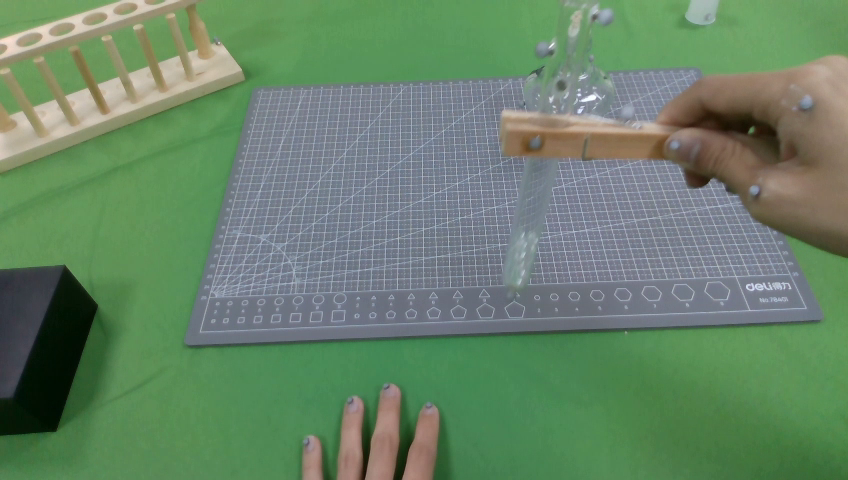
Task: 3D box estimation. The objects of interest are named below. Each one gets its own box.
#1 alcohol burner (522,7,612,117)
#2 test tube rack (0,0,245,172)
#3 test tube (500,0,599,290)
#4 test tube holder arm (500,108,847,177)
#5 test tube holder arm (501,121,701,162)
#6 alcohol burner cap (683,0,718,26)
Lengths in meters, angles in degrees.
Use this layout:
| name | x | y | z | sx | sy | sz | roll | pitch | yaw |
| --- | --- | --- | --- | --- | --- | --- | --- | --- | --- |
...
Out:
| name | x | y | z | sx | sy | sz | roll | pitch | yaw |
| --- | --- | --- | --- | --- | --- | --- | --- | --- | --- |
| alcohol burner | 0.124 | -0.141 | 0.516 | 0.078 | 0.120 | 0.077 | -1 | 49 | 2 |
| test tube rack | -0.307 | -0.161 | 0.578 | 0.242 | 0.086 | 0.066 | -27 | 54 | -18 |
| test tube | 0.055 | -0.036 | 0.283 | 0.017 | 0.151 | 0.017 | 5 | 36 | -3 |
| test tube holder arm | 0.124 | -0.044 | 0.277 | 0.178 | 0.015 | 0.013 | 6 | 38 | 1 |
| test tube holder arm | 0.079 | -0.044 | 0.271 | 0.088 | 0.015 | 0.010 | 1 | 38 | -5 |
| alcohol burner cap | 0.304 | -0.260 | 0.656 | 0.034 | 0.048 | 0.033 | -3 | 51 | 4 |
